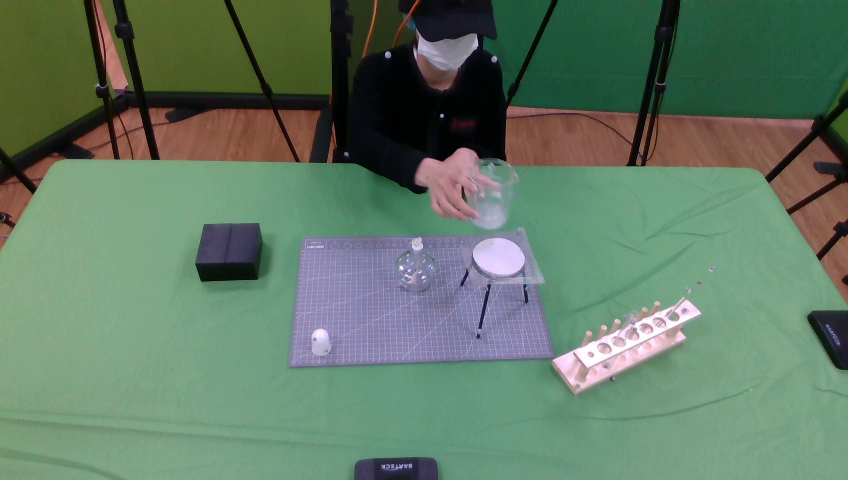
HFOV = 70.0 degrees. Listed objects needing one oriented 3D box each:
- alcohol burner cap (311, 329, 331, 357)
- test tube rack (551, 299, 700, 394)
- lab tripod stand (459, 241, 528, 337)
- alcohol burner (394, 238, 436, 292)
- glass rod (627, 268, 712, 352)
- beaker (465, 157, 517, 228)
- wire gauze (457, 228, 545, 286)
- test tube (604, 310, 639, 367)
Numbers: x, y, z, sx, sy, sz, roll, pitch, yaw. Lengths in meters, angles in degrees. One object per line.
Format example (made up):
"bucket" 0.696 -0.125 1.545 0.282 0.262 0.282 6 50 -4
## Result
"alcohol burner cap" -0.173 0.168 1.004 0.034 0.048 0.033 2 46 -2
"test tube rack" 0.339 0.166 1.021 0.242 0.085 0.066 -19 50 -21
"lab tripod stand" 0.122 0.075 1.054 0.148 0.132 0.147 3 44 -3
"alcohol burner" -0.016 0.038 1.093 0.078 0.119 0.077 2 48 -2
"glass rod" 0.399 0.117 0.995 0.008 0.200 0.008 26 29 -15
"beaker" 0.109 -0.076 1.002 0.084 0.101 0.073 8 46 9
"wire gauze" 0.126 0.029 1.006 0.125 0.011 0.120 -4 46 -10
"test tube" 0.310 0.158 0.957 0.017 0.151 0.017 1 49 -1
